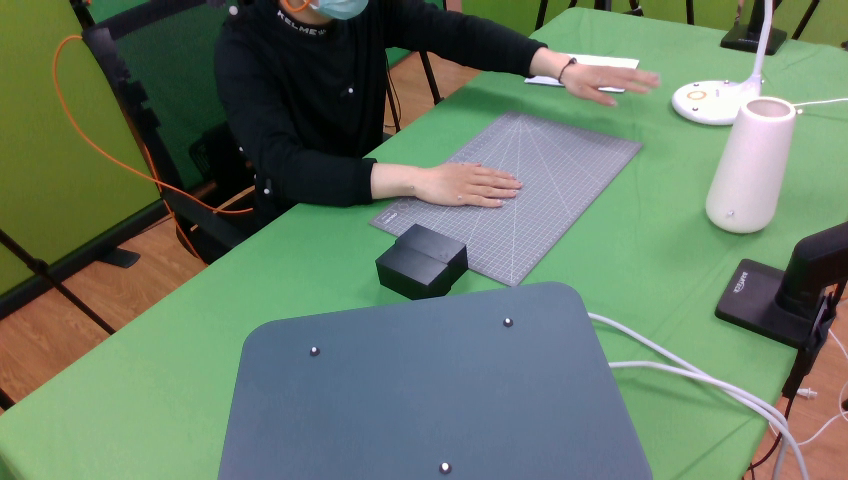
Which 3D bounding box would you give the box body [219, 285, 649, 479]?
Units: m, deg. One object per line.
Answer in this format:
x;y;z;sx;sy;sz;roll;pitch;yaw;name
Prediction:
0.005;0.209;0.619;0.364;0.161;0.252;-8;40;-1;box body

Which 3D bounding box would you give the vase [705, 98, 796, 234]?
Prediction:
0.480;-0.104;0.889;0.098;0.201;0.097;-4;42;4;vase

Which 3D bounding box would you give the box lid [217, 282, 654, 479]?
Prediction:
-0.004;0.154;0.571;0.372;0.015;0.261;-8;40;-1;box lid

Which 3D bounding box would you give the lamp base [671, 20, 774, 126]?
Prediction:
0.581;-0.332;1.154;0.179;0.181;0.160;2;41;7;lamp base

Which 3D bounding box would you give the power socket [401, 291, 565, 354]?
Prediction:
0.079;0.111;0.823;0.227;0.033;0.072;-5;41;1;power socket

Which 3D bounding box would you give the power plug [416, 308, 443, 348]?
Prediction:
0.004;0.121;0.787;0.035;0.053;0.072;2;46;8;power plug
